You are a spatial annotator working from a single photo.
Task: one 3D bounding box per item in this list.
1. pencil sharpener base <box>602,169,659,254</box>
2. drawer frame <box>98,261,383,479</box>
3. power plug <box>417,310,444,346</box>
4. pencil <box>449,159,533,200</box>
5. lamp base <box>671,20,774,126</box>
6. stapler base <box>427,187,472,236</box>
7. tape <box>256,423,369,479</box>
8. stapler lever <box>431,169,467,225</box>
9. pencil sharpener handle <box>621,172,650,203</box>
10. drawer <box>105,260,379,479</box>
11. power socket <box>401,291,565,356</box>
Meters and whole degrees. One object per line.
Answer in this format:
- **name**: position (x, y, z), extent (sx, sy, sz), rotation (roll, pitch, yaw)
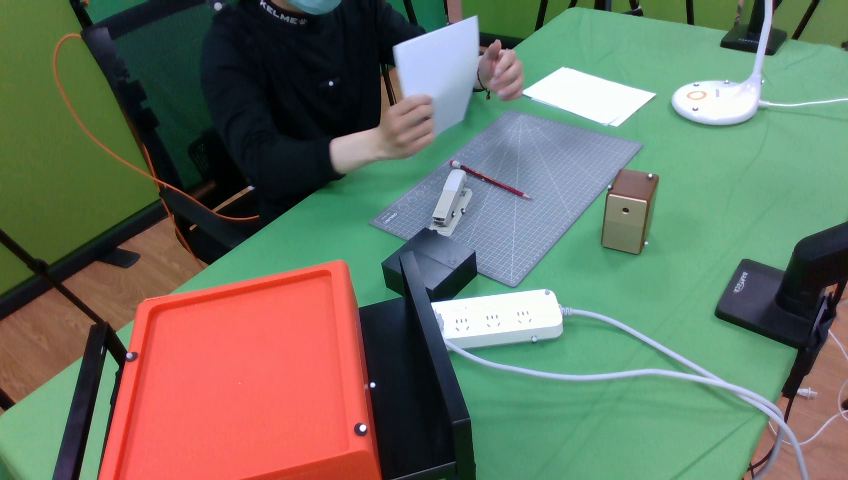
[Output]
- **pencil sharpener base**: position (0.312, -0.044, 0.913), extent (0.061, 0.107, 0.077), rotation (14, 45, 24)
- **drawer frame**: position (-0.148, 0.129, 0.520), extent (0.202, 0.083, 0.212), rotation (-12, 41, -6)
- **power plug**: position (0.006, 0.122, 0.785), extent (0.035, 0.053, 0.072), rotation (-1, 40, 9)
- **pencil**: position (0.118, -0.110, 1.091), extent (0.192, 0.012, 0.012), rotation (31, 53, 34)
- **lamp base**: position (0.581, -0.332, 1.154), extent (0.179, 0.181, 0.160), rotation (2, 41, 7)
- **stapler base**: position (0.045, -0.057, 1.028), extent (0.041, 0.024, 0.130), rotation (9, 44, 20)
- **tape**: position (-0.121, 0.263, 0.660), extent (0.117, 0.053, 0.116), rotation (-4, 40, 4)
- **stapler lever**: position (0.043, -0.075, 1.010), extent (0.026, 0.040, 0.118), rotation (9, 44, 20)
- **pencil sharpener handle**: position (0.328, -0.087, 0.941), extent (0.036, 0.068, 0.030), rotation (30, 49, 7)
- **drawer**: position (-0.150, 0.127, 0.525), extent (0.195, 0.073, 0.210), rotation (-11, 41, -5)
- **power socket**: position (0.080, 0.112, 0.822), extent (0.227, 0.033, 0.072), rotation (-6, 41, 0)
